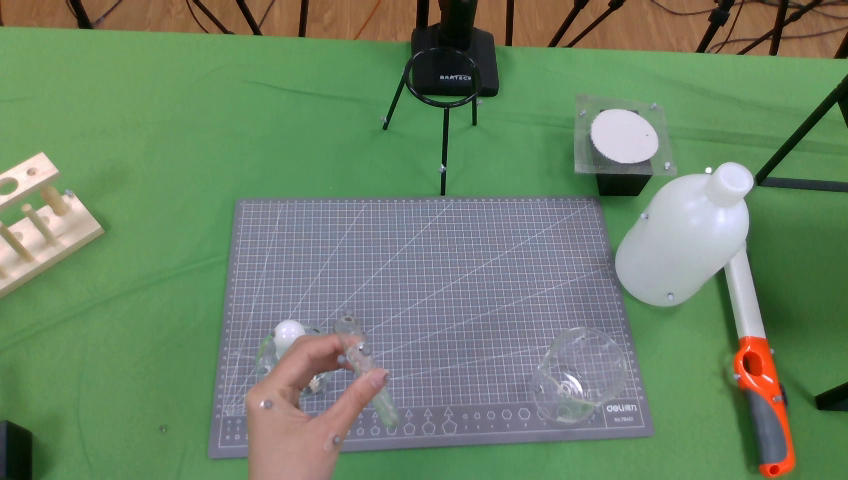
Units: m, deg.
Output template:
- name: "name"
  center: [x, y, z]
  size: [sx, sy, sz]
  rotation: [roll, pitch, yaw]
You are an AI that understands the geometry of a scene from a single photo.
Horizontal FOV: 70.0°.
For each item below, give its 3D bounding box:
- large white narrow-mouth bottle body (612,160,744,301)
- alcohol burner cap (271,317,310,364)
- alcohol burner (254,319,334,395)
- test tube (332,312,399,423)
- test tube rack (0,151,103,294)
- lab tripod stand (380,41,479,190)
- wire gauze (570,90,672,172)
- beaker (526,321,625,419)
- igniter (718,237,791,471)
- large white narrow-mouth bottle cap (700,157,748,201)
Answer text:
- name: "large white narrow-mouth bottle body"
  center: [0.277, -0.015, 0.646]
  size: [0.102, 0.196, 0.101]
  rotation: [2, 61, -3]
- name: "alcohol burner cap"
  center: [-0.123, 0.089, 0.552]
  size: [0.034, 0.048, 0.033]
  rotation: [1, 56, -2]
- name: "alcohol burner"
  center: [-0.126, 0.106, 0.584]
  size: [0.078, 0.120, 0.077]
  rotation: [3, 60, -5]
- name: "test tube"
  center: [-0.038, 0.096, 0.427]
  size: [0.017, 0.152, 0.017]
  rotation: [-5, 51, 7]
- name: "test tube rack"
  center: [-0.472, 0.017, 0.619]
  size: [0.242, 0.086, 0.066]
  rotation: [-39, 71, -23]
- name: "lab tripod stand"
  center: [0.015, -0.156, 0.734]
  size: [0.148, 0.132, 0.147]
  rotation: [3, 62, -5]
- name: "wire gauze"
  center: [0.243, -0.136, 0.760]
  size: [0.121, 0.011, 0.124]
  rotation: [6, 61, -2]
- name: "beaker"
  center: [0.143, 0.134, 0.603]
  size: [0.084, 0.101, 0.073]
  rotation: [-4, 61, -6]
- name: "igniter"
  center: [0.364, 0.115, 0.679]
  size: [0.057, 0.025, 0.274]
  rotation: [10, 60, -12]
- name: "large white narrow-mouth bottle cap"
  center: [0.282, -0.058, 0.572]
  size: [0.038, 0.024, 0.037]
  rotation: [2, 61, -3]
